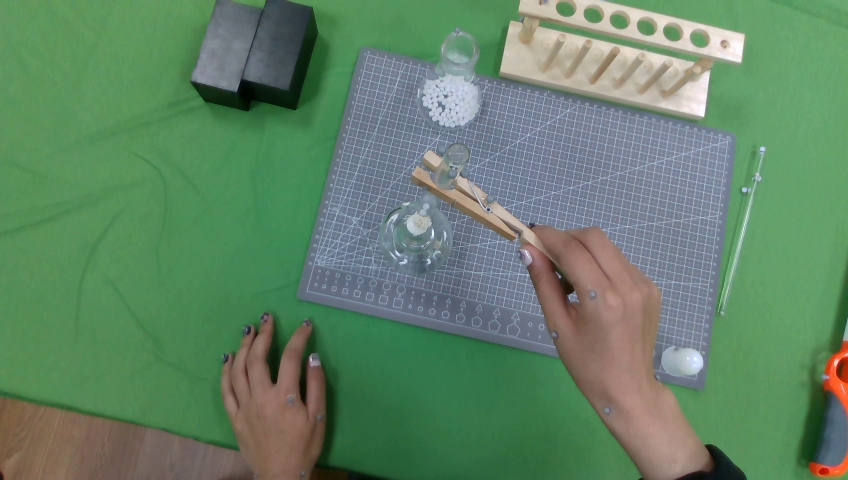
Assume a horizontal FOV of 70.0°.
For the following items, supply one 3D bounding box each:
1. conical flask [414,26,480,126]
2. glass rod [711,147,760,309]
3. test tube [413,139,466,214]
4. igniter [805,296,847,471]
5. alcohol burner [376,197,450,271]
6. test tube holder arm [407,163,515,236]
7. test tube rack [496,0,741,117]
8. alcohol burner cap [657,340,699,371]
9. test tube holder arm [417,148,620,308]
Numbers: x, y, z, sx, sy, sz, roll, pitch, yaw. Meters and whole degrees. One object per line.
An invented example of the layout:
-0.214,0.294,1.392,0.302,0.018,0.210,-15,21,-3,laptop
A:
0.029,-0.175,0.635,0.075,0.122,0.075,1,80,-3,conical flask
0.356,-0.015,0.691,0.008,0.008,0.199,20,82,0,glass rod
0.009,-0.043,0.448,0.017,0.150,0.017,2,79,-8,test tube
0.468,0.120,0.665,0.057,0.025,0.275,23,79,-10,igniter
-0.011,-0.010,0.609,0.078,0.119,0.077,0,78,-2,alcohol burner
0.028,-0.029,0.435,0.088,0.015,0.010,29,81,-2,test tube holder arm
0.211,-0.210,0.676,0.242,0.085,0.066,12,79,-2,test tube rack
0.272,0.122,0.641,0.034,0.048,0.033,1,79,-3,alcohol burner cap
0.068,-0.008,0.436,0.178,0.015,0.013,36,82,-1,test tube holder arm
